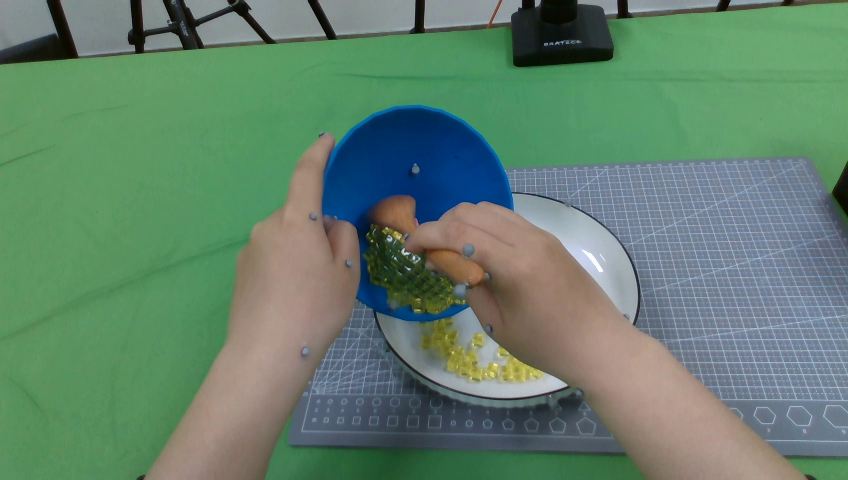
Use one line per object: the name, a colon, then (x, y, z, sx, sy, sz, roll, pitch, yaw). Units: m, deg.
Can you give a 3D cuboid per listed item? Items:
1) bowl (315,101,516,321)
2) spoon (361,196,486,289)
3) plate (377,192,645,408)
bowl: (-0.016, -0.018, 0.446, 0.151, 0.152, 0.076, -36, 14, -23)
spoon: (-0.002, -0.002, 0.369, 0.041, 0.022, 0.192, -24, 23, -12)
plate: (0.067, 0.044, 0.487, 0.207, 0.039, 0.205, -4, 47, 5)
